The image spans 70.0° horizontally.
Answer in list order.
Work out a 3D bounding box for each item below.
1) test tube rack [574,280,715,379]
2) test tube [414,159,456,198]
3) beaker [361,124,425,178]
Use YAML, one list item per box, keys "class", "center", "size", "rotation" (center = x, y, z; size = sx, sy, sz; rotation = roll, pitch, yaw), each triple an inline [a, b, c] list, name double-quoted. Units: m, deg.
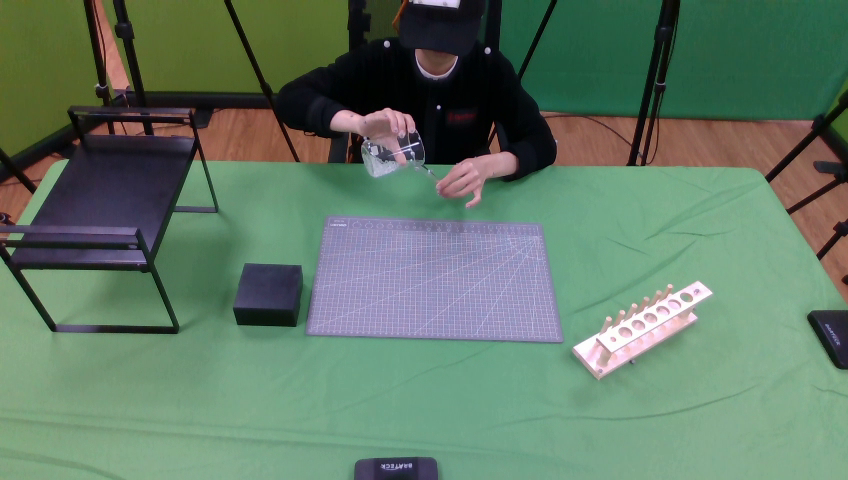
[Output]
- class: "test tube rack"
  center: [0.378, 0.140, 1.038]
  size: [0.242, 0.085, 0.066]
  rotation: [-23, 51, -23]
- class: "test tube"
  center: [0.024, -0.119, 1.198]
  size: [0.017, 0.151, 0.017]
  rotation: [-14, 62, 28]
- class: "beaker"
  center: [-0.058, -0.157, 1.101]
  size: [0.100, 0.084, 0.073]
  rotation: [-20, 46, -15]
